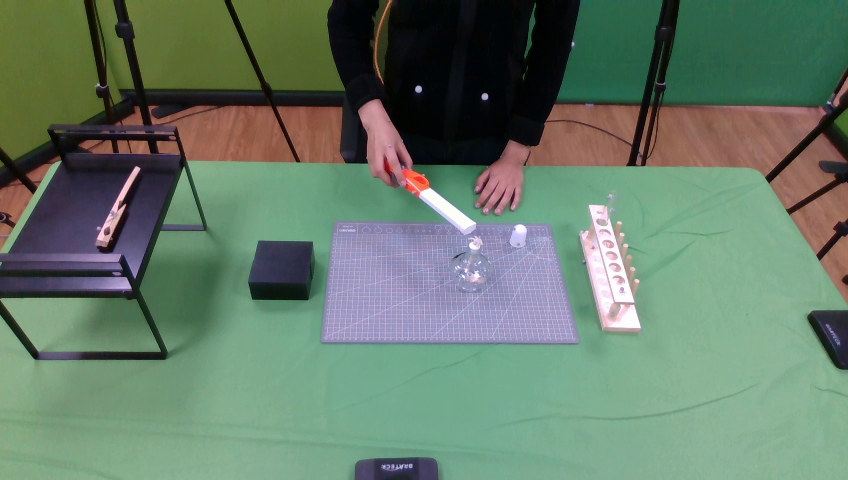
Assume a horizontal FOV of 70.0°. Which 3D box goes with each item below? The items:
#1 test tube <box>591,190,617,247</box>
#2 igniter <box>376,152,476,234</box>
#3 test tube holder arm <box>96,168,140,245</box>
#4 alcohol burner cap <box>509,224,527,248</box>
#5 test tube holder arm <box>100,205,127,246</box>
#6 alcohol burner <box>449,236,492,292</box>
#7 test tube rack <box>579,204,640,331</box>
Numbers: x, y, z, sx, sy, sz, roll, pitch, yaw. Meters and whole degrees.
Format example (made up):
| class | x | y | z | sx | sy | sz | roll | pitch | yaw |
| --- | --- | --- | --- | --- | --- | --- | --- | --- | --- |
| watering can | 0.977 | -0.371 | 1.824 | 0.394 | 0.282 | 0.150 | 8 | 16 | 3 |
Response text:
| class | x | y | z | sx | sy | sz | roll | pitch | yaw |
| --- | --- | --- | --- | --- | --- | --- | --- | --- | --- |
| test tube | 0.340 | -0.038 | 1.149 | 0.017 | 0.151 | 0.017 | 1 | 50 | -1 |
| igniter | -0.005 | -0.096 | 1.149 | 0.057 | 0.025 | 0.275 | -23 | 49 | -34 |
| test tube holder arm | -0.486 | -0.058 | 0.968 | 0.013 | 0.015 | 0.177 | 27 | 37 | -26 |
| alcohol burner cap | 0.189 | -0.011 | 1.206 | 0.034 | 0.048 | 0.033 | 1 | 46 | -1 |
| test tube holder arm | -0.480 | -0.025 | 0.938 | 0.010 | 0.015 | 0.087 | 27 | 37 | -26 |
| alcohol burner | 0.086 | 0.038 | 1.101 | 0.078 | 0.119 | 0.077 | 3 | 44 | -2 |
| test tube rack | 0.353 | 0.047 | 1.137 | 0.067 | 0.085 | 0.241 | 2 | 46 | -2 |
